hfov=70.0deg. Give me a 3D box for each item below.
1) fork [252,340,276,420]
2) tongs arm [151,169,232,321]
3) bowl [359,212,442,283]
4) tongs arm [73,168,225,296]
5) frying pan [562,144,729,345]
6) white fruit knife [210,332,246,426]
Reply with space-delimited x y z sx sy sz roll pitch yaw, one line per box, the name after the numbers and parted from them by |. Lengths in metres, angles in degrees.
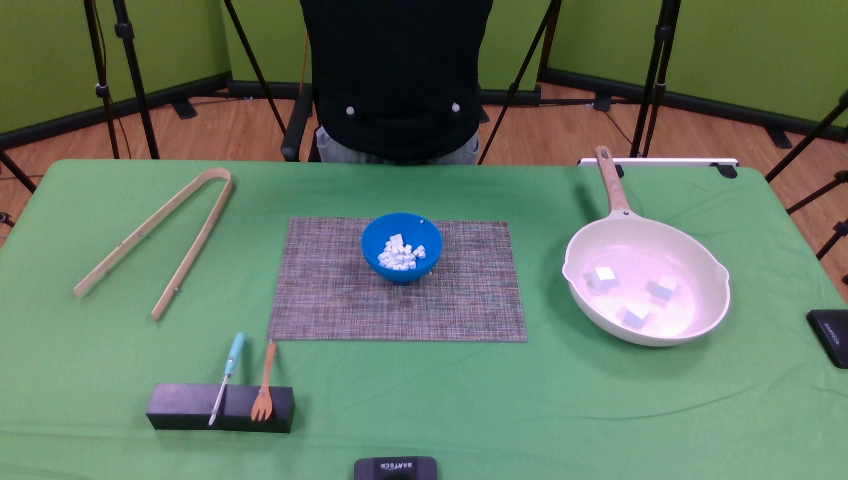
-0.242 0.211 0.932 0.028 0.019 0.206 -8 27 -5 | fork
-0.437 -0.004 1.163 0.028 0.028 0.385 6 46 5 | tongs arm
-0.044 0.026 1.125 0.151 0.077 0.150 2 46 -2 | bowl
-0.515 -0.026 1.172 0.050 0.026 0.383 18 46 11 | tongs arm
0.396 -0.008 1.179 0.307 0.103 0.484 1 55 -4 | frying pan
-0.301 0.206 0.930 0.016 0.027 0.206 5 29 -7 | white fruit knife
